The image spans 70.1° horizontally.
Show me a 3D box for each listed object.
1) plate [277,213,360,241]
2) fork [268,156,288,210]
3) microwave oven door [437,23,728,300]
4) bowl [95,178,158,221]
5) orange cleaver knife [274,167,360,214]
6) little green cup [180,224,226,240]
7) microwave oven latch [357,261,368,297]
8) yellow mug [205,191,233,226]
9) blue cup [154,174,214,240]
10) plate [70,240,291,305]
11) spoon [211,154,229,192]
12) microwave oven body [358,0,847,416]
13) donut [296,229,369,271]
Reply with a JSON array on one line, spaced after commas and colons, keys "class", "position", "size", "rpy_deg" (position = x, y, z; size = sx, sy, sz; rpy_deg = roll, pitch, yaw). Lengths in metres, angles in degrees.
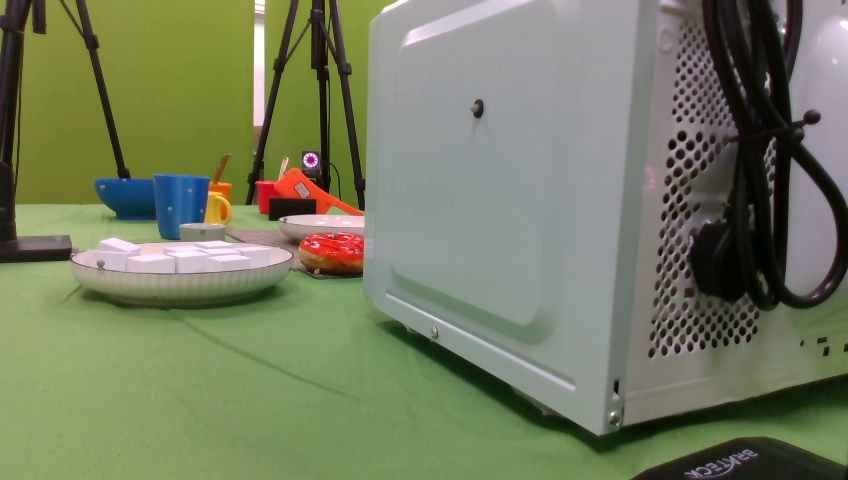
[{"class": "plate", "position": [-0.135, -0.017, 0.992], "size": [0.209, 0.038, 0.209], "rpy_deg": [2, 8, 0]}, {"class": "fork", "position": [-0.360, -0.144, 1.508], "size": [0.028, 0.018, 0.207], "rpy_deg": [1, 49, 0]}, {"class": "microwave oven door", "position": [0.181, -0.072, 0.621], "size": [0.358, 0.243, 0.039], "rpy_deg": [-2, 8, -29]}, {"class": "bowl", "position": [-0.576, -0.081, 1.217], "size": [0.151, 0.077, 0.151], "rpy_deg": [3, 8, 0]}, {"class": "orange cleaver knife", "position": [-0.238, -0.091, 1.381], "size": [0.212, 0.077, 0.012], "rpy_deg": [31, 0, -19]}, {"class": "little green cup", "position": [-0.309, -0.001, 0.846], "size": [0.061, 0.038, 0.061], "rpy_deg": [2, 8, 0]}, {"class": "microwave oven latch", "position": [-0.019, 0.033, 0.530], "size": [0.079, 0.029, 0.030], "rpy_deg": [-1, 7, -26]}, {"class": "yellow mug", "position": [-0.415, -0.057, 1.132], "size": [0.130, 0.064, 0.100], "rpy_deg": [6, 8, 16]}, {"class": "blue cup", "position": [-0.391, -0.053, 0.978], "size": [0.093, 0.100, 0.092], "rpy_deg": [3, 6, 0]}, {"class": "plate", "position": [-0.242, 0.031, 0.618], "size": [0.208, 0.039, 0.207], "rpy_deg": [2, 8, 0]}, {"class": "spoon", "position": [-0.431, -0.115, 1.253], "size": [0.042, 0.193, 0.021], "rpy_deg": [-3, 54, -33]}, {"class": "microwave oven body", "position": [0.211, -0.047, 0.474], "size": [0.444, 0.260, 0.324], "rpy_deg": [-1, 7, -28]}, {"class": "donut", "position": [-0.106, 0.014, 0.739], "size": [0.099, 0.048, 0.099], "rpy_deg": [4, 8, 0]}]
